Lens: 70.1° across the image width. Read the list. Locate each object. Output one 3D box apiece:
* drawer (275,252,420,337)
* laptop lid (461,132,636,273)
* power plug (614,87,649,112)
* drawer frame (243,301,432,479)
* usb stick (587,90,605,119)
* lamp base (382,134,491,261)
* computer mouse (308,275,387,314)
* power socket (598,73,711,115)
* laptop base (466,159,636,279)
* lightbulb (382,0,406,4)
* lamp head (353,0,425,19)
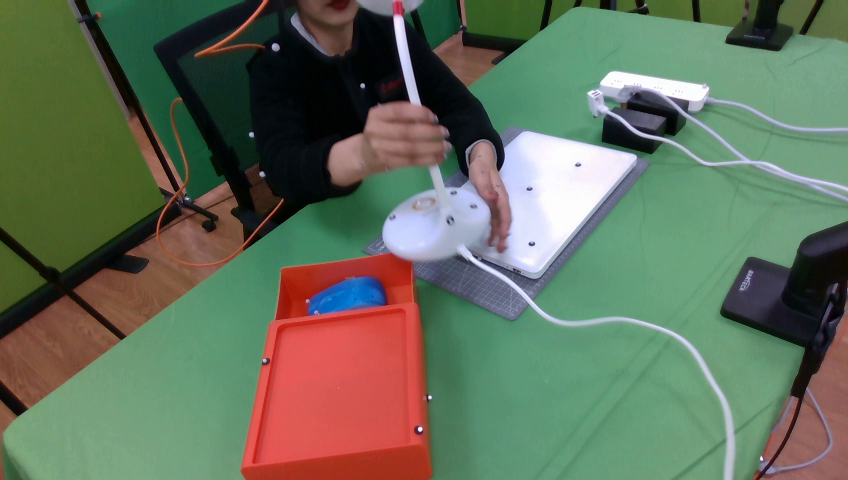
[{"bbox_3d":[-0.103,0.117,0.825,0.194,0.073,0.210,-8,40,1],"label":"drawer"},{"bbox_3d":[0.181,-0.084,1.036,0.239,0.013,0.358,22,49,35],"label":"laptop lid"},{"bbox_3d":[0.406,-0.275,1.192,0.035,0.053,0.072,-15,24,-16],"label":"power plug"},{"bbox_3d":[-0.096,0.185,0.738,0.202,0.083,0.212,-8,40,1],"label":"drawer frame"},{"bbox_3d":[0.334,-0.258,1.170,0.021,0.059,0.027,-29,44,-6],"label":"usb stick"},{"bbox_3d":[0.005,-0.080,0.811,0.161,0.181,0.177,-29,40,-16],"label":"lamp base"},{"bbox_3d":[-0.112,0.089,0.881,0.117,0.041,0.062,-16,42,-1],"label":"computer mouse"},{"bbox_3d":[0.469,-0.304,1.249,0.225,0.033,0.072,20,49,30],"label":"power socket"},{"bbox_3d":[0.184,-0.074,1.042,0.233,0.023,0.355,20,48,35],"label":"laptop base"},{"bbox_3d":[-0.037,-0.342,0.761,0.060,0.107,0.059,1,80,-6],"label":"lightbulb"},{"bbox_3d":[-0.040,-0.345,0.736,0.113,0.123,0.112,1,83,-8],"label":"lamp head"}]
